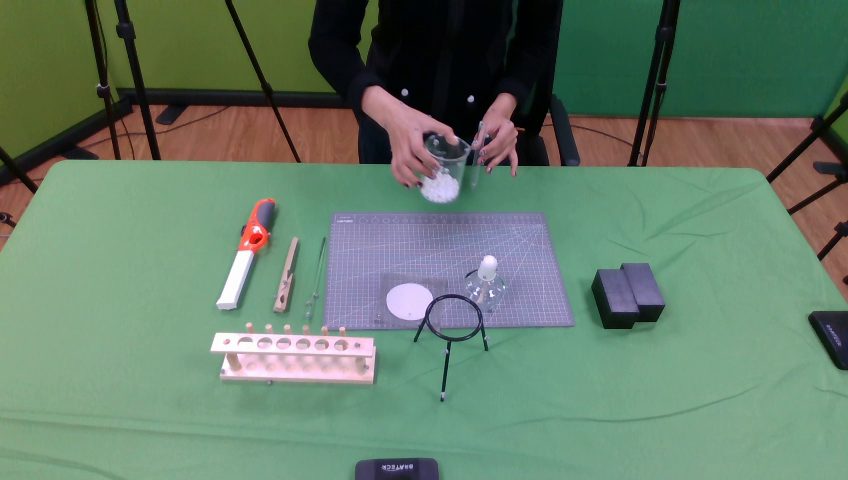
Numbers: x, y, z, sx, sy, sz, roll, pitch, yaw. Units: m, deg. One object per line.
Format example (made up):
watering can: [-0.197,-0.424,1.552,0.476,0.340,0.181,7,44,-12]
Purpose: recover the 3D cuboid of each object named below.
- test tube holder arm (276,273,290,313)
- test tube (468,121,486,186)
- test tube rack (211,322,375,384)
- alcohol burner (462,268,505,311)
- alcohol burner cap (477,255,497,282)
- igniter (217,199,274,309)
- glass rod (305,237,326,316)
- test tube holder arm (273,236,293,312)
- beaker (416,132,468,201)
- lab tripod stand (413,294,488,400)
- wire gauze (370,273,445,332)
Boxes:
test tube holder arm: [-0.254,0.093,1.094,0.010,0.015,0.087,30,38,-28]
test tube: [0.100,-0.161,1.153,0.017,0.151,0.017,3,47,-3]
test tube rack: [-0.202,0.176,0.969,0.242,0.085,0.066,3,46,-2]
alcohol burner: [0.108,0.071,1.072,0.078,0.119,0.077,4,45,-4]
alcohol burner cap: [0.110,0.047,1.046,0.034,0.048,0.033,2,52,-2]
igniter: [-0.336,0.017,1.152,0.057,0.025,0.275,-2,45,8]
glass rod: [-0.202,0.063,1.131,0.008,0.008,0.198,4,44,0]
test tube holder arm: [-0.260,0.058,1.122,0.013,0.015,0.177,29,38,-29]
beaker: [0.028,-0.123,1.034,0.084,0.101,0.073,-9,48,-20]
lab tripod stand: [0.044,0.159,0.972,0.148,0.132,0.147,2,44,-2]
wire gauze: [-0.028,0.108,1.099,0.125,0.011,0.121,7,45,4]
